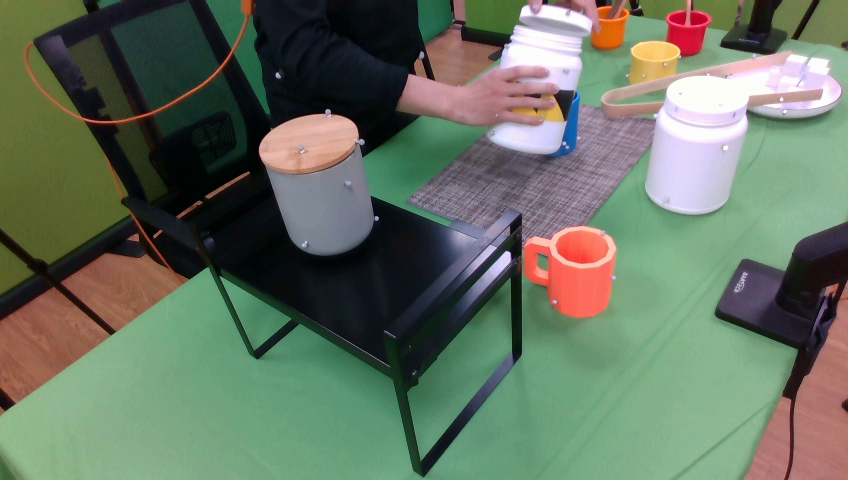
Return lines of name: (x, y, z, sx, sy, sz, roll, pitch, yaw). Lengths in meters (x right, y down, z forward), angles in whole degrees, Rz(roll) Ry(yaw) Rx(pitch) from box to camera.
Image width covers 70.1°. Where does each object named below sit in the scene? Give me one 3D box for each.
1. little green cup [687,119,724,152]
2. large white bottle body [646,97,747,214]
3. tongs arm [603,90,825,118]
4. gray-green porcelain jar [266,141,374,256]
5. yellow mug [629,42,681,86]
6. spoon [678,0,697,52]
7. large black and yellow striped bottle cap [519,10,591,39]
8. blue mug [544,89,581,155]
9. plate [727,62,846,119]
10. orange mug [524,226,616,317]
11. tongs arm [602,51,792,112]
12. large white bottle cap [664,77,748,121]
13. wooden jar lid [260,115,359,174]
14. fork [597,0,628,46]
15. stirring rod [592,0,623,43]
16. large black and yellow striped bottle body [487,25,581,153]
little green cup: (0.514, -0.191, 1.109, 0.061, 0.039, 0.061, -5, 40, 5)
large white bottle body: (0.430, -0.148, 0.959, 0.130, 0.185, 0.130, -4, 41, 4)
tongs arm: (0.546, -0.262, 1.162, 0.386, 0.028, 0.028, -1, 49, 18)
gray-green porcelain jar: (-0.117, -0.054, 0.703, 0.106, 0.127, 0.105, -4, 40, 4)
yellow mug: (0.495, -0.389, 1.321, 0.100, 0.064, 0.130, -14, 40, -7)
spoon: (0.614, -0.526, 1.402, 0.041, 0.022, 0.193, 3, 86, 11)
large black and yellow striped bottle cap: (0.209, -0.342, 0.962, 0.115, 0.019, 0.115, 12, 14, -3)
blue mug: (0.233, -0.219, 1.127, 0.117, 0.106, 0.081, -22, 43, -16)
plate: (0.710, -0.292, 1.198, 0.207, 0.039, 0.206, -4, 40, 4)
orange mug: (0.201, 0.039, 0.845, 0.125, 0.101, 0.083, 18, 47, 21)
tongs arm: (0.552, -0.319, 1.223, 0.384, 0.027, 0.050, -10, 43, 7)
large white bottle cap: (0.421, -0.212, 0.905, 0.115, 0.018, 0.114, -4, 40, 4)
wooden jar lid: (-0.124, -0.101, 0.662, 0.108, 0.021, 0.108, -4, 41, 4)
fork: (0.479, -0.558, 1.455, 0.028, 0.019, 0.207, 35, 100, 38)
stirring rod: (0.460, -0.557, 1.461, 0.014, 0.176, 0.006, 35, 11, 22)
large black and yellow striped bottle body: (0.182, -0.248, 0.994, 0.131, 0.184, 0.130, 9, 22, -3)
